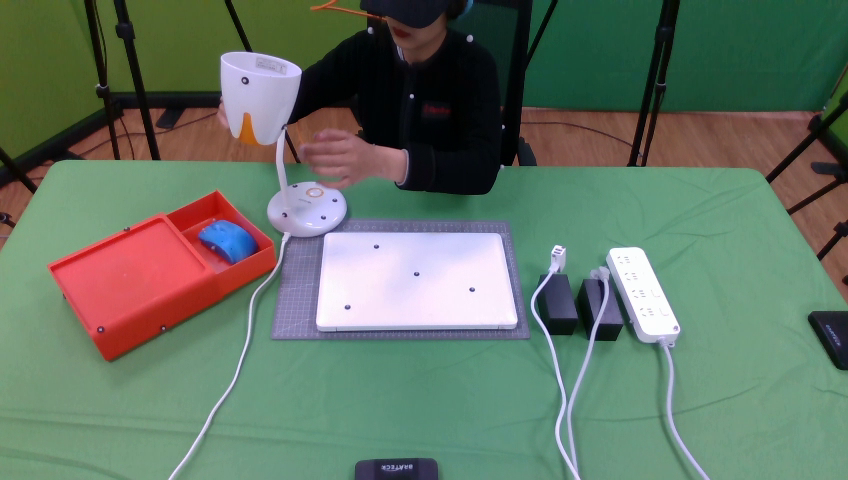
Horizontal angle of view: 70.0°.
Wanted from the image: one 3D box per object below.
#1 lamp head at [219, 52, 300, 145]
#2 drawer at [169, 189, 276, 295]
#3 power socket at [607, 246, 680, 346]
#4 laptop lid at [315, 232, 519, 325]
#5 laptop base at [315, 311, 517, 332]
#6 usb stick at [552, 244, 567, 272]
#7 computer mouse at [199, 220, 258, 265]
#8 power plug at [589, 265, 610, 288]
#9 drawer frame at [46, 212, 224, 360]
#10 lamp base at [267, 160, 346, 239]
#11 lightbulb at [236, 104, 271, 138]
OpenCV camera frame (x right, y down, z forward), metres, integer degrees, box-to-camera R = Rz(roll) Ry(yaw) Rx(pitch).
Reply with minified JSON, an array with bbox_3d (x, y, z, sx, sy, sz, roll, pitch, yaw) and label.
[{"bbox_3d":[-0.244,-0.204,0.889,0.112,0.123,0.112,11,33,-7],"label":"lamp head"},{"bbox_3d":[-0.414,0.022,1.108,0.212,0.073,0.193,-33,57,-30],"label":"drawer"},{"bbox_3d":[0.403,0.096,1.123,0.072,0.033,0.225,-3,46,-5],"label":"power socket"},{"bbox_3d":[-0.015,0.065,1.118,0.357,0.013,0.240,1,43,-3],"label":"laptop lid"},{"bbox_3d":[-0.016,0.075,1.125,0.355,0.023,0.234,0,43,-4],"label":"laptop base"},{"bbox_3d":[0.251,0.039,1.123,0.021,0.059,0.027,14,47,24],"label":"usb stick"},{"bbox_3d":[-0.374,-0.001,1.153,0.116,0.041,0.063,31,52,27],"label":"computer mouse"},{"bbox_3d":[0.317,0.073,1.108,0.035,0.053,0.072,26,34,13],"label":"power plug"},{"bbox_3d":[-0.495,0.071,1.050,0.213,0.083,0.200,-32,56,-30],"label":"drawer frame"},{"bbox_3d":[-0.241,-0.110,1.175,0.160,0.181,0.178,11,49,10],"label":"lamp base"},{"bbox_3d":[-0.301,-0.212,1.076,0.059,0.059,0.107,-8,14,-12],"label":"lightbulb"}]
